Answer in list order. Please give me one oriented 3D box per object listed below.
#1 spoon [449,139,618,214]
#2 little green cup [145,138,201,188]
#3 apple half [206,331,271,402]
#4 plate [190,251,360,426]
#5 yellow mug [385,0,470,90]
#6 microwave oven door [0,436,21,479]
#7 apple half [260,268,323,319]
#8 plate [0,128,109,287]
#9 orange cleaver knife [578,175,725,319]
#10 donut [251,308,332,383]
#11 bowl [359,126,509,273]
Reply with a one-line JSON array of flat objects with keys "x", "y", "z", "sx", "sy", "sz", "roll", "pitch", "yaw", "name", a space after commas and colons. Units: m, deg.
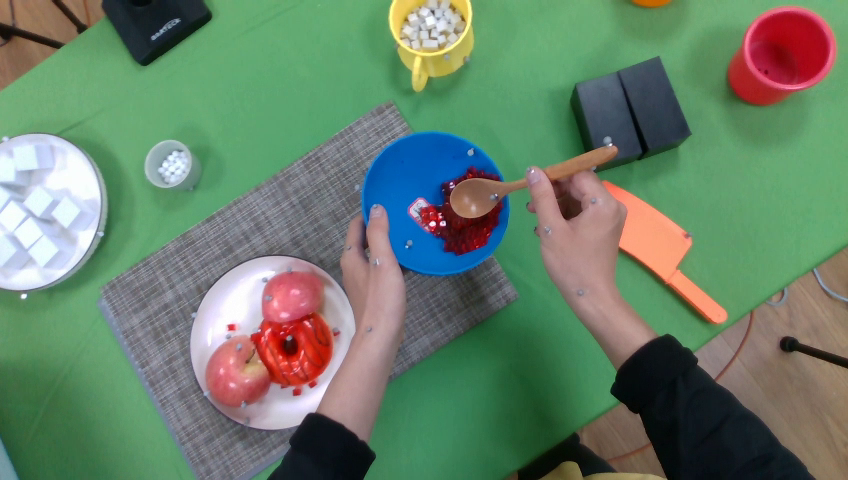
[{"x": 0.093, "y": -0.057, "z": 0.557, "sx": 0.021, "sy": 0.193, "sz": 0.042, "roll": -34, "pitch": 103, "yaw": -37, "name": "spoon"}, {"x": -0.320, "y": -0.096, "z": 0.779, "sx": 0.061, "sy": 0.039, "sz": 0.061, "roll": -1, "pitch": 83, "yaw": 6, "name": "little green cup"}, {"x": -0.224, "y": 0.153, "z": 0.706, "sx": 0.075, "sy": 0.053, "sz": 0.080, "roll": -38, "pitch": 77, "yaw": 42, "name": "apple half"}, {"x": -0.178, "y": 0.117, "z": 0.736, "sx": 0.209, "sy": 0.038, "sz": 0.208, "roll": -1, "pitch": 84, "yaw": 6, "name": "plate"}, {"x": 0.002, "y": -0.250, "z": 0.748, "sx": 0.100, "sy": 0.064, "sz": 0.130, "roll": 14, "pitch": 86, "yaw": 7, "name": "yellow mug"}, {"x": -0.486, "y": 0.356, "z": 0.624, "sx": 0.039, "sy": 0.244, "sz": 0.354, "roll": -32, "pitch": 81, "yaw": 1, "name": "microwave oven door"}, {"x": -0.159, "y": 0.055, "z": 0.715, "sx": 0.081, "sy": 0.033, "sz": 0.080, "roll": -6, "pitch": 42, "yaw": 6, "name": "apple half"}, {"x": -0.506, "y": -0.041, "z": 0.792, "sx": 0.207, "sy": 0.039, "sz": 0.207, "roll": -1, "pitch": 84, "yaw": 6, "name": "plate"}, {"x": 0.275, "y": 0.006, "z": 0.714, "sx": 0.210, "sy": 0.012, "sz": 0.077, "roll": 41, "pitch": 84, "yaw": 10, "name": "orange cleaver knife"}, {"x": -0.158, "y": 0.122, "z": 0.723, "sx": 0.099, "sy": 0.048, "sz": 0.099, "roll": 0, "pitch": 88, "yaw": 6, "name": "donut"}, {"x": 0.006, "y": -0.033, "z": 0.631, "sx": 0.152, "sy": 0.077, "sz": 0.150, "roll": 2, "pitch": 77, "yaw": -9, "name": "bowl"}]
